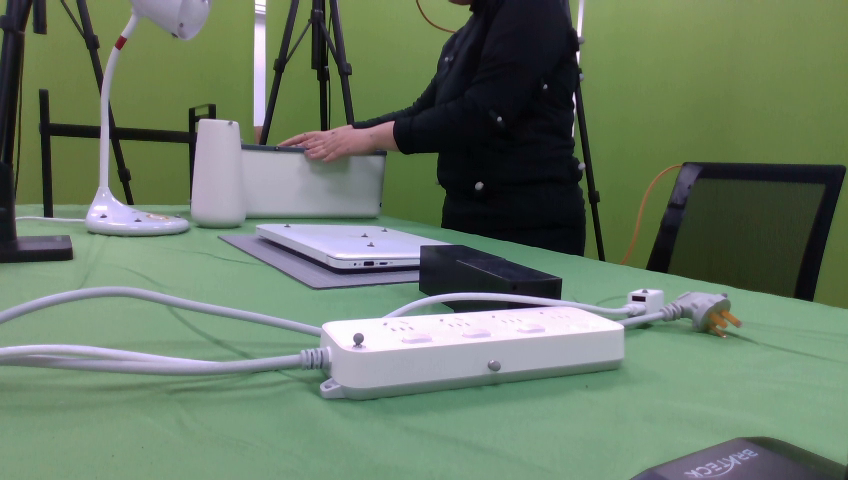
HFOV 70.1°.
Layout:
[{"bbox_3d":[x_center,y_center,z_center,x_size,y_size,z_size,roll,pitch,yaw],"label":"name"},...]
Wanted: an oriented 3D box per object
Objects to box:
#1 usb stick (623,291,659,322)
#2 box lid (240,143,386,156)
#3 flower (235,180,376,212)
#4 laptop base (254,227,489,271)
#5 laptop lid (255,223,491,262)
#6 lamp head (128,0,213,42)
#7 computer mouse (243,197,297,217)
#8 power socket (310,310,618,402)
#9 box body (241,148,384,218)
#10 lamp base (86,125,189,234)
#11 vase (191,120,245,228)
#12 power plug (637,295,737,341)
[{"bbox_3d":[0.211,0.063,0.581,0.021,0.027,0.059,0,-2,36],"label":"usb stick"},{"bbox_3d":[-0.304,-0.217,1.463,0.373,0.015,0.262,-2,8,-30],"label":"box lid"},{"bbox_3d":[-0.264,-0.092,1.416,0.364,0.038,0.044,8,-41,-39],"label":"flower"},{"bbox_3d":[-0.096,0.012,0.911,0.237,0.023,0.352,2,6,-32],"label":"laptop base"},{"bbox_3d":[-0.093,0.000,0.911,0.243,0.013,0.355,1,7,-30],"label":"laptop lid"},{"bbox_3d":[-0.423,-0.394,0.980,0.123,0.112,0.112,20,7,-3],"label":"lamp head"},{"bbox_3d":[-0.350,-0.075,1.375,0.118,0.041,0.062,-10,17,-39],"label":"computer mouse"},{"bbox_3d":[0.033,0.074,0.415,0.228,0.032,0.072,-1,7,-24],"label":"power socket"},{"bbox_3d":[-0.306,-0.144,1.474,0.366,0.160,0.253,-1,9,-30],"label":"box body"},{"bbox_3d":[-0.497,-0.105,1.027,0.179,0.180,0.160,1,7,3],"label":"lamp base"},{"bbox_3d":[-0.389,-0.124,1.143,0.098,0.200,0.098,3,9,0],"label":"vase"},{"bbox_3d":[0.235,0.077,0.536,0.072,0.035,0.052,-34,40,-5],"label":"power plug"}]
